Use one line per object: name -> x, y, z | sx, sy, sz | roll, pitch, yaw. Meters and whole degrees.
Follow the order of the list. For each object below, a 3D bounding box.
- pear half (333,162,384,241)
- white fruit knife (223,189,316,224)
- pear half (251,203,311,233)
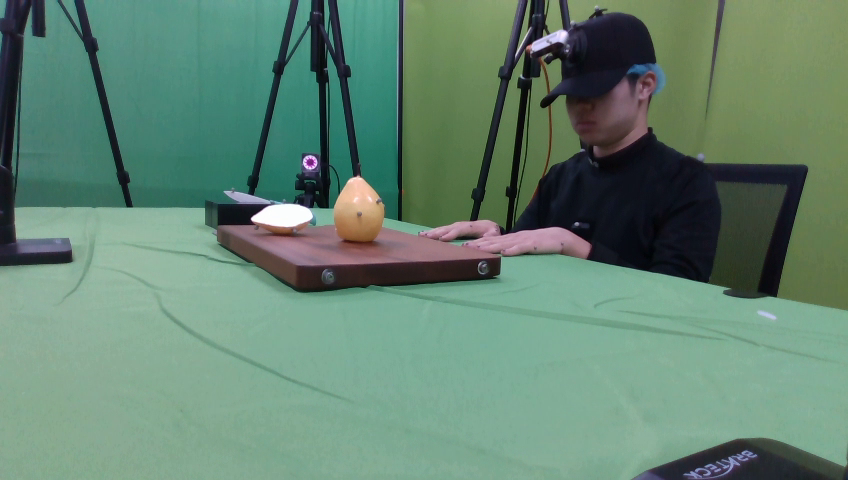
pear half -> -0.085, -0.053, 0.842 | 0.056, 0.110, 0.076 | 6, 12, 28
white fruit knife -> -0.311, -0.071, 1.236 | 0.208, 0.027, 0.016 | 16, 6, -37
pear half -> -0.212, -0.027, 0.900 | 0.088, 0.031, 0.070 | -16, 31, -25
